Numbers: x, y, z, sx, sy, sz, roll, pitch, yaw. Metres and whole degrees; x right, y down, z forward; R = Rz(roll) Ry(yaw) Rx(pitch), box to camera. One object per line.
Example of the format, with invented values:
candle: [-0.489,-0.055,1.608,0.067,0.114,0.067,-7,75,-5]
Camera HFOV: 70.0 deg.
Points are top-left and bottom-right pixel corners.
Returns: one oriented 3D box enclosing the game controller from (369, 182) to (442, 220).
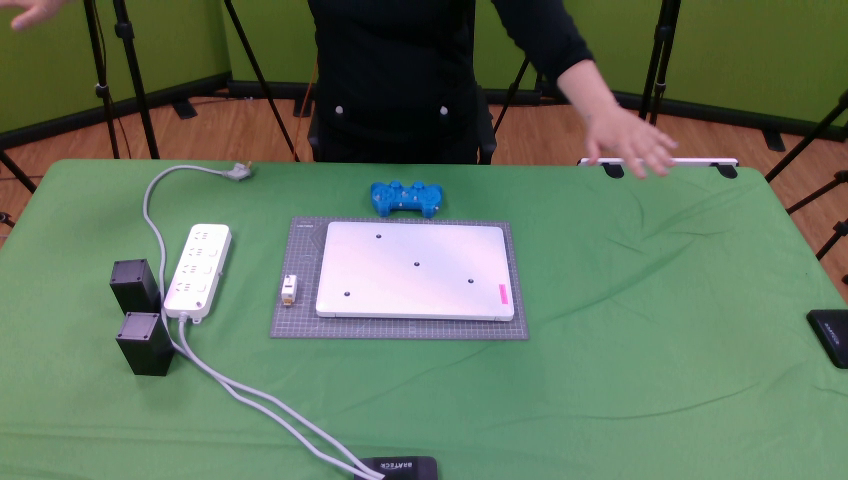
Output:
game controller: [-0.039,-0.091,1.268,0.155,0.052,0.096,2,50,-2]

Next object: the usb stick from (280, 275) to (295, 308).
usb stick: [-0.244,0.093,1.081,0.021,0.027,0.059,3,48,-5]

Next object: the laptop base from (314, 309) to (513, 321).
laptop base: [-0.017,0.059,1.141,0.354,0.023,0.234,2,42,-3]

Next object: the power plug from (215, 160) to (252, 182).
power plug: [-0.408,-0.155,1.303,0.072,0.035,0.052,23,64,1]

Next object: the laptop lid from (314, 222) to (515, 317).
laptop lid: [-0.016,0.049,1.134,0.357,0.013,0.240,3,43,-2]

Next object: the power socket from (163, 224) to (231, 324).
power socket: [-0.411,0.052,1.106,0.072,0.033,0.225,3,46,-3]
